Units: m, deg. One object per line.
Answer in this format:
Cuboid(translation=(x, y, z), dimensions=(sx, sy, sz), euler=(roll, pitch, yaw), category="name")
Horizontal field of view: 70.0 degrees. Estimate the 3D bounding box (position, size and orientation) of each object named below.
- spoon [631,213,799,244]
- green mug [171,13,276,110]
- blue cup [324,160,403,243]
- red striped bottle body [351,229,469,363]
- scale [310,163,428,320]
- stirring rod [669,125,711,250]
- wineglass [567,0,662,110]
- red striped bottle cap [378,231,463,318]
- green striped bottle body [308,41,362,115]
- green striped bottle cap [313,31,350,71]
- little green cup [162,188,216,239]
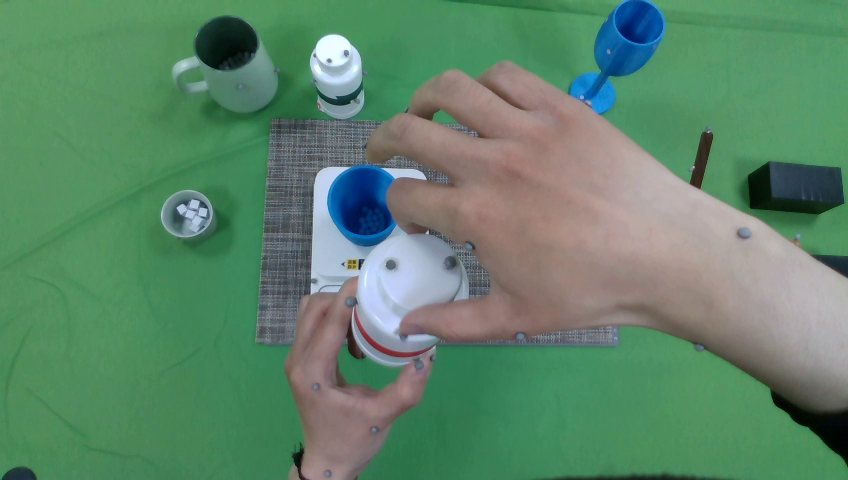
Cuboid(translation=(0.348, -0.009, 0.743), dimensions=(0.022, 0.192, 0.041), euler=(21, 80, -43), category="spoon")
Cuboid(translation=(-0.258, -0.221, 0.776), dimensions=(0.125, 0.105, 0.092), euler=(-21, 79, -8), category="green mug")
Cuboid(translation=(-0.070, -0.037, 0.711), dimensions=(0.093, 0.100, 0.092), euler=(1, 78, -5), category="blue cup")
Cuboid(translation=(-0.011, 0.035, 0.366), dimensions=(0.063, 0.120, 0.062), euler=(3, 69, -9), category="red striped bottle body")
Cuboid(translation=(-0.069, -0.001, 0.770), dimensions=(0.149, 0.031, 0.200), euler=(0, 77, -3), category="scale")
Cuboid(translation=(0.329, -0.060, 0.754), dimensions=(0.014, 0.177, 0.006), euler=(6, 35, 11), category="stirring rod")
Cuboid(translation=(0.239, -0.235, 0.776), dimensions=(0.074, 0.173, 0.073), euler=(1, 76, -3), category="wineglass")
Cuboid(translation=(-0.002, 0.017, 0.315), dimensions=(0.044, 0.018, 0.044), euler=(3, 68, -7), category="red striped bottle cap")
Cuboid(translation=(-0.113, -0.214, 0.776), dimensions=(0.063, 0.119, 0.063), euler=(1, 76, -3), category="green striped bottle body")
Cuboid(translation=(-0.111, -0.227, 0.725), dimensions=(0.044, 0.020, 0.044), euler=(1, 75, -4), category="green striped bottle cap")
Cuboid(translation=(-0.292, -0.031, 0.762), dimensions=(0.061, 0.039, 0.061), euler=(1, 76, -5), category="little green cup")
